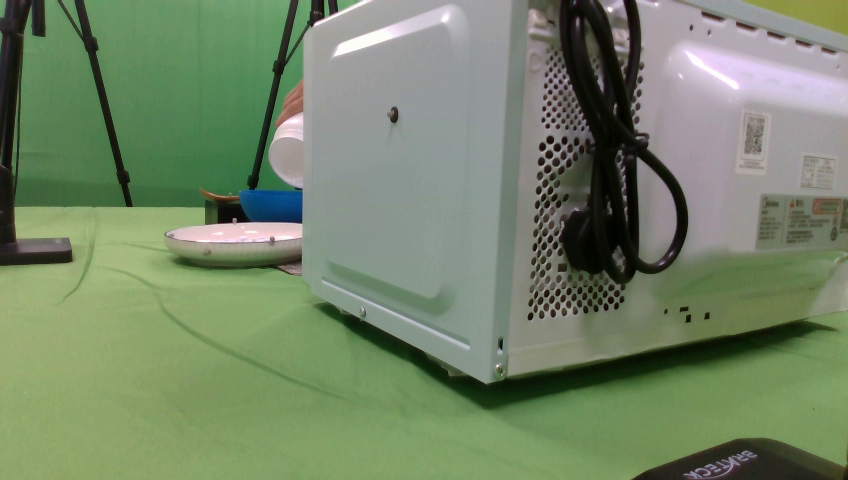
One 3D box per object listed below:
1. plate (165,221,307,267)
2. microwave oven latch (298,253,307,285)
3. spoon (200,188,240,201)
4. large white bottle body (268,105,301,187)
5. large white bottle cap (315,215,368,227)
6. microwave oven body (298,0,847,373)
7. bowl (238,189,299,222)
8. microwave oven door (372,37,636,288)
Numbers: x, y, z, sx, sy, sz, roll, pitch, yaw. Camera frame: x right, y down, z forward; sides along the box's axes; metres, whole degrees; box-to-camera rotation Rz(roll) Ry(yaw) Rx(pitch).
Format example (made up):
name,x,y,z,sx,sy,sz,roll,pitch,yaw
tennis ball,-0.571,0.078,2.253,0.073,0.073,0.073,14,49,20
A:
name,x,y,z,sx,sy,sz,roll,pitch,yaw
plate,-0.241,0.004,0.829,0.209,0.038,0.209,0,9,0
microwave oven latch,-0.081,0.027,0.582,0.079,0.029,0.030,-1,7,-32
spoon,-0.338,-0.080,1.190,0.194,0.021,0.041,5,3,-19
large white bottle body,-0.206,-0.192,1.152,0.130,0.131,0.184,5,38,17
large white bottle cap,-0.177,-0.041,1.309,0.115,0.018,0.115,2,6,0
microwave oven body,0.151,-0.055,0.542,0.444,0.260,0.324,-2,7,-33
bowl,-0.245,-0.046,1.052,0.151,0.077,0.151,2,8,0
microwave oven door,0.110,-0.080,0.686,0.358,0.243,0.039,-2,9,-33
